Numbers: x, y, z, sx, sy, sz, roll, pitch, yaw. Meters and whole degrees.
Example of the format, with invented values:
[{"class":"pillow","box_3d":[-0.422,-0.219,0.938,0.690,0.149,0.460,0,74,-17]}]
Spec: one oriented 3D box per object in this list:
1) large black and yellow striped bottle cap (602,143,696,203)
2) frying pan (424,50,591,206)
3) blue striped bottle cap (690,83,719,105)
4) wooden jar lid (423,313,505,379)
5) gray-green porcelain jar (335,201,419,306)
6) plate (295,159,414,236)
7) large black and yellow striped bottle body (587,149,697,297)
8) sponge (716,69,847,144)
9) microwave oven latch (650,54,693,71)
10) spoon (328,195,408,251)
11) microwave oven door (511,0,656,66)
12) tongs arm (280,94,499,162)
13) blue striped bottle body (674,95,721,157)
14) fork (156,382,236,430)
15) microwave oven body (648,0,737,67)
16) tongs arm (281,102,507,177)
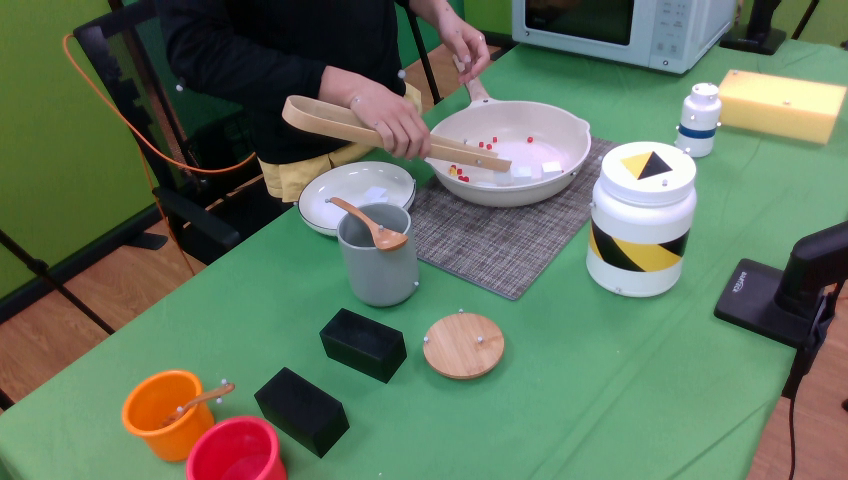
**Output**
[{"class":"large black and yellow striped bottle cap","box_3d":[0.289,-0.088,0.779,0.115,0.019,0.114,-4,39,4]},{"class":"frying pan","box_3d":[0.127,-0.233,1.155,0.307,0.103,0.484,-10,49,-5]},{"class":"blue striped bottle cap","box_3d":[0.481,-0.251,1.038,0.044,0.021,0.044,-5,40,5]},{"class":"wooden jar lid","box_3d":[0.053,0.142,0.800,0.108,0.021,0.108,-5,39,4]},{"class":"gray-green porcelain jar","box_3d":[-0.064,0.024,0.872,0.106,0.127,0.105,-4,41,4]},{"class":"plate","box_3d":[-0.118,-0.070,1.055,0.207,0.039,0.206,-5,40,5]},{"class":"large black and yellow striped bottle body","box_3d":[0.298,-0.026,0.835,0.131,0.185,0.130,-4,41,4]},{"class":"sponge","box_3d":[0.663,-0.256,1.142,0.205,0.061,0.118,19,47,28]},{"class":"microwave oven latch","box_3d":[0.531,-0.386,1.301,0.078,0.029,0.030,26,51,33]},{"class":"spoon","box_3d":[-0.083,-0.029,0.829,0.042,0.022,0.192,-32,42,-21]},{"class":"microwave oven door","box_3d":[0.350,-0.539,1.349,0.353,0.245,0.039,24,50,31]},{"class":"tongs arm","box_3d":[-0.035,-0.163,0.947,0.388,0.026,0.050,12,37,-29]},{"class":"blue striped bottle body","box_3d":[0.486,-0.213,1.072,0.063,0.121,0.063,-4,41,4]},{"class":"fork","box_3d":[-0.262,0.189,0.690,0.018,0.206,0.028,49,43,-6]},{"class":"microwave oven body","box_3d":[0.475,-0.602,1.411,0.438,0.261,0.327,23,50,32]},{"class":"tongs arm","box_3d":[-0.027,-0.146,0.930,0.391,0.027,0.028,10,42,-31]}]
